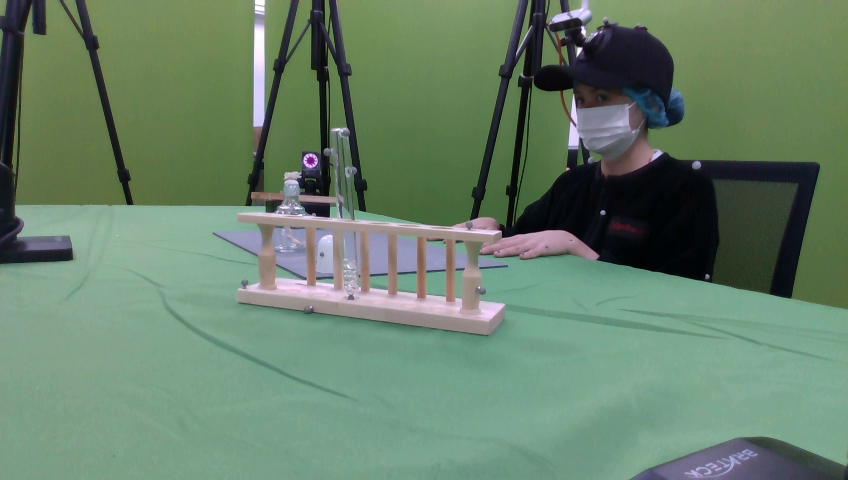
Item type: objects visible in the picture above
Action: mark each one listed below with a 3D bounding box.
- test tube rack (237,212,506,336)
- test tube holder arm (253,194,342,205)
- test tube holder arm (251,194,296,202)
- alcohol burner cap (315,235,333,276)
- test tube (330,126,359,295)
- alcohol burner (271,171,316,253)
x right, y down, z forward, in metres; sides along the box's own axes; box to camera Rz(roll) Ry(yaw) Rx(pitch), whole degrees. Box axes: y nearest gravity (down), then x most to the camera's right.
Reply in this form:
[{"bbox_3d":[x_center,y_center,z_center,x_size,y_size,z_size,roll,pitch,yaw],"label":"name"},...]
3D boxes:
[{"bbox_3d":[-0.049,0.024,0.552,0.242,0.085,0.067,5,8,18],"label":"test tube rack"},{"bbox_3d":[-0.256,-0.082,1.218,0.179,0.015,0.013,3,5,-7],"label":"test tube holder arm"},{"bbox_3d":[-0.300,-0.084,1.207,0.088,0.015,0.010,3,5,-5],"label":"test tube holder arm"},{"bbox_3d":[-0.116,0.018,0.728,0.034,0.048,0.034,3,6,0],"label":"alcohol burner cap"},{"bbox_3d":[-0.070,-0.024,0.533,0.017,0.150,0.017,-3,10,1],"label":"test tube"},{"bbox_3d":[-0.196,-0.041,0.884,0.078,0.119,0.078,3,5,0],"label":"alcohol burner"}]
